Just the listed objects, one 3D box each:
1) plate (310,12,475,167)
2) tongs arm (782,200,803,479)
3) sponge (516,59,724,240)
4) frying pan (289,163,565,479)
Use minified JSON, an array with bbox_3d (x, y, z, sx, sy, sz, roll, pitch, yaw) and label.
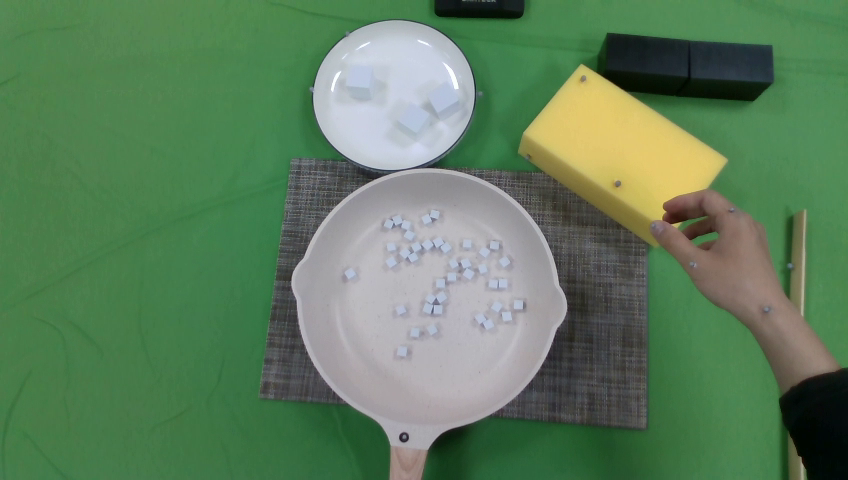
[{"bbox_3d":[-0.039,-0.189,0.774,0.207,0.039,0.206,0,78,2],"label":"plate"},{"bbox_3d":[0.429,0.142,0.692,0.028,0.028,0.386,7,79,2],"label":"tongs arm"},{"bbox_3d":[0.231,-0.110,0.733,0.206,0.061,0.118,37,80,10],"label":"sponge"},{"bbox_3d":[-0.011,0.155,0.661,0.306,0.103,0.484,6,70,4],"label":"frying pan"}]
